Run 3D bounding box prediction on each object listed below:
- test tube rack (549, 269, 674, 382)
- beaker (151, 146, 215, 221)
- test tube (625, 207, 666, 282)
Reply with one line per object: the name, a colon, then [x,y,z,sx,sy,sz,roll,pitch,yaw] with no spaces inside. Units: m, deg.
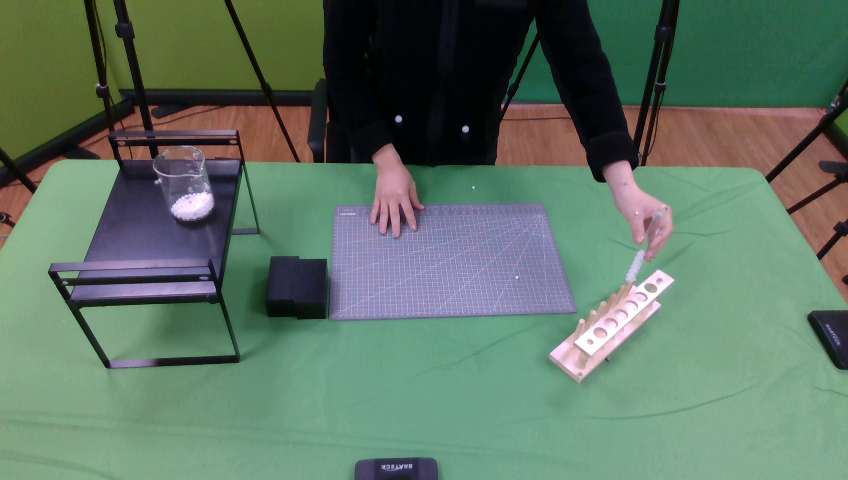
test tube rack: [0.325,0.134,1.047,0.242,0.085,0.066,-32,55,-29]
beaker: [-0.370,-0.084,0.948,0.083,0.101,0.074,27,50,19]
test tube: [0.355,0.011,0.976,0.017,0.151,0.017,6,39,-5]
